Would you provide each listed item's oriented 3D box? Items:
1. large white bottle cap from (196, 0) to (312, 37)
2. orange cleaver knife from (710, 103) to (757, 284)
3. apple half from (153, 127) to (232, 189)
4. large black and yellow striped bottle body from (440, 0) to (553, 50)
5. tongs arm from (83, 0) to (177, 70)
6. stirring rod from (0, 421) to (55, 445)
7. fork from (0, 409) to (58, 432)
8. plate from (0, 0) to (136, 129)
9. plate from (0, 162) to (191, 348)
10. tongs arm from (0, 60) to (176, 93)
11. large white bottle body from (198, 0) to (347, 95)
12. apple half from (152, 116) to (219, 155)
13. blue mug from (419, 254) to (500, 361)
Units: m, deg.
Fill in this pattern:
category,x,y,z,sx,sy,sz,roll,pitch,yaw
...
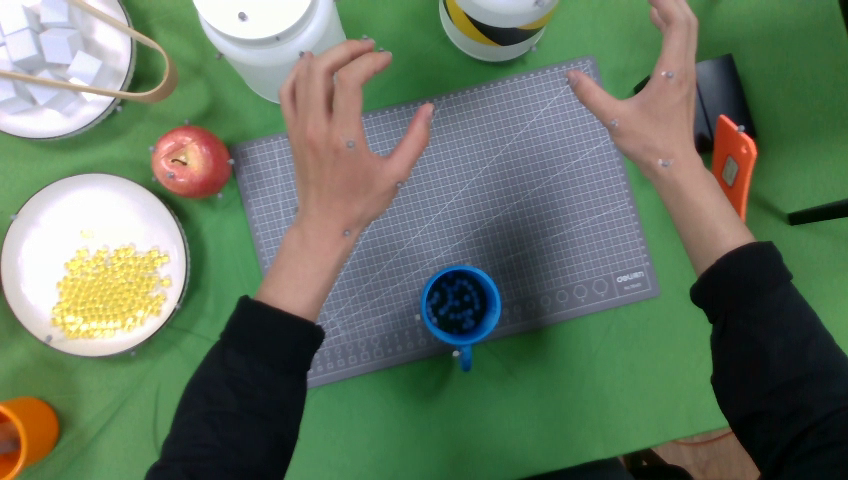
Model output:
category,x,y,z,sx,sy,sz,roll,pitch,yaw
large white bottle cap,-0.155,-0.242,0.546,0.115,0.018,0.114,0,88,-1
orange cleaver knife,0.346,-0.049,0.687,0.012,0.076,0.213,-15,120,-2
apple half,-0.252,-0.085,0.680,0.081,0.074,0.053,-29,93,-5
large black and yellow striped bottle body,0.084,-0.293,0.638,0.131,0.184,0.130,0,88,-1
tongs arm,-0.440,-0.291,0.667,0.387,0.028,0.028,28,81,2
stirring rod,-0.486,0.216,0.629,0.177,0.006,0.014,-4,75,-42
fork,-0.499,0.199,0.627,0.209,0.018,0.028,5,86,-44
plate,-0.432,-0.228,0.696,0.208,0.039,0.207,0,89,-1
plate,-0.367,0.017,0.691,0.209,0.038,0.209,0,89,-1
tongs arm,-0.467,-0.212,0.662,0.385,0.026,0.050,14,85,1
large white bottle body,-0.155,-0.238,0.630,0.131,0.184,0.130,0,87,-1
apple half,-0.271,-0.119,0.679,0.081,0.081,0.033,-29,94,-2
blue mug,0.038,0.074,0.664,0.082,0.106,0.116,-7,88,-1
